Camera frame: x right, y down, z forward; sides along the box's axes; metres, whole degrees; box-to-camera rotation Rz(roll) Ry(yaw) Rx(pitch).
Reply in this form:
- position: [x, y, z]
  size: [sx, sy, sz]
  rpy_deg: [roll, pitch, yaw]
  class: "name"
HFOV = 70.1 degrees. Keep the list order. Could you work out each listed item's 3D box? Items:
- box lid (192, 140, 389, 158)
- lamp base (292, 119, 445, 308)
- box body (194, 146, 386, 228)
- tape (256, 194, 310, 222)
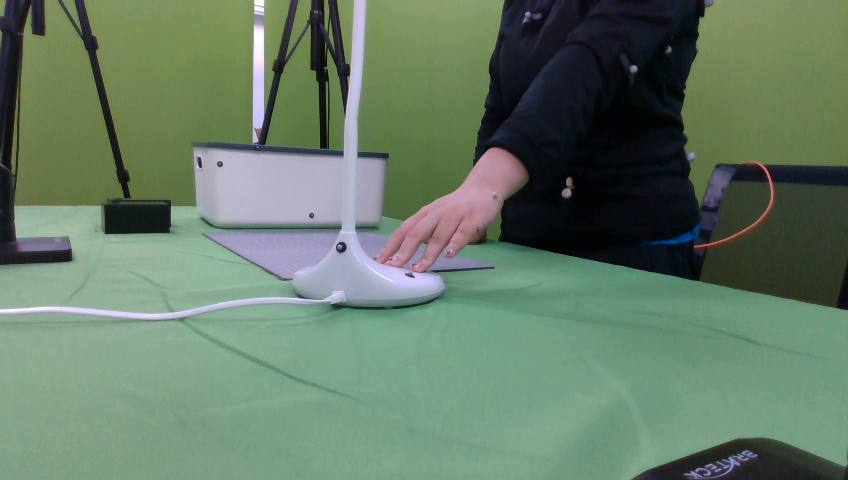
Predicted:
- position: [-0.287, -0.190, 1.281]
  size: [0.373, 0.015, 0.262]
  rpy_deg: [0, 8, -28]
  class: "box lid"
- position: [-0.056, -0.030, 0.616]
  size: [0.160, 0.180, 0.179]
  rpy_deg: [3, 10, 8]
  class: "lamp base"
- position: [-0.288, -0.118, 1.291]
  size: [0.366, 0.160, 0.253]
  rpy_deg: [-1, 8, -28]
  class: "box body"
- position: [-0.301, -0.069, 1.294]
  size: [0.117, 0.052, 0.117]
  rpy_deg: [2, 7, 0]
  class: "tape"
